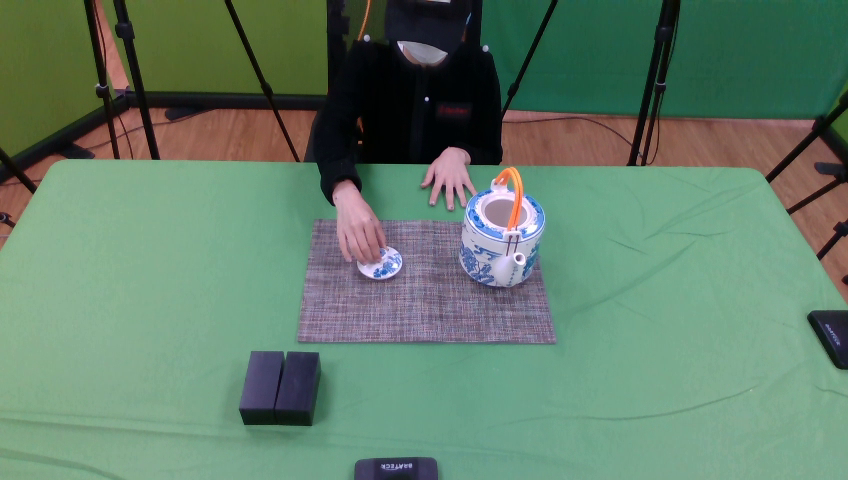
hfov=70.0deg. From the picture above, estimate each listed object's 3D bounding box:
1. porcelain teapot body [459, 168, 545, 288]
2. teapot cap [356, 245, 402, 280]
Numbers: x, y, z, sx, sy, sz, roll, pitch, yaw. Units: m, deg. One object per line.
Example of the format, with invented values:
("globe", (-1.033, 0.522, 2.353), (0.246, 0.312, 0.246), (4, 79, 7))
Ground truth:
("porcelain teapot body", (0.146, -0.006, 1.070), (0.145, 0.226, 0.204), (-4, 46, -8))
("teapot cap", (-0.084, 0.039, 1.135), (0.085, 0.044, 0.084), (4, 48, -4))
